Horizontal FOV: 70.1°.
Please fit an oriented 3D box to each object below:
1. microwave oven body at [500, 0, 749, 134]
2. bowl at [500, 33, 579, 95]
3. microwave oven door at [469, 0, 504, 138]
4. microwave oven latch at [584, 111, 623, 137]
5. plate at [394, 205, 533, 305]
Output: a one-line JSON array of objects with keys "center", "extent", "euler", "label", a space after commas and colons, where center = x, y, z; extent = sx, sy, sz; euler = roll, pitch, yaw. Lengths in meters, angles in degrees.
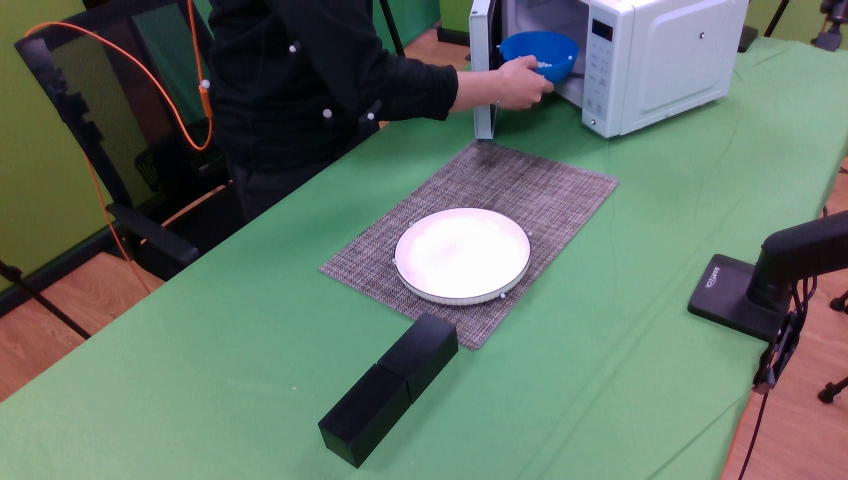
[{"center": [0.382, -0.444, 1.246], "extent": [0.327, 0.261, 0.437], "euler": [-22, 42, -16], "label": "microwave oven body"}, {"center": [0.222, -0.336, 1.181], "extent": [0.151, 0.077, 0.150], "euler": [-1, 42, 2], "label": "bowl"}, {"center": [0.133, -0.403, 1.225], "extent": [0.039, 0.245, 0.354], "euler": [1, 41, 11], "label": "microwave oven door"}, {"center": [0.337, -0.222, 1.142], "extent": [0.030, 0.029, 0.078], "euler": [-21, 42, -14], "label": "microwave oven latch"}, {"center": [0.059, 0.025, 0.915], "extent": [0.207, 0.039, 0.206], "euler": [-4, 41, 4], "label": "plate"}]
